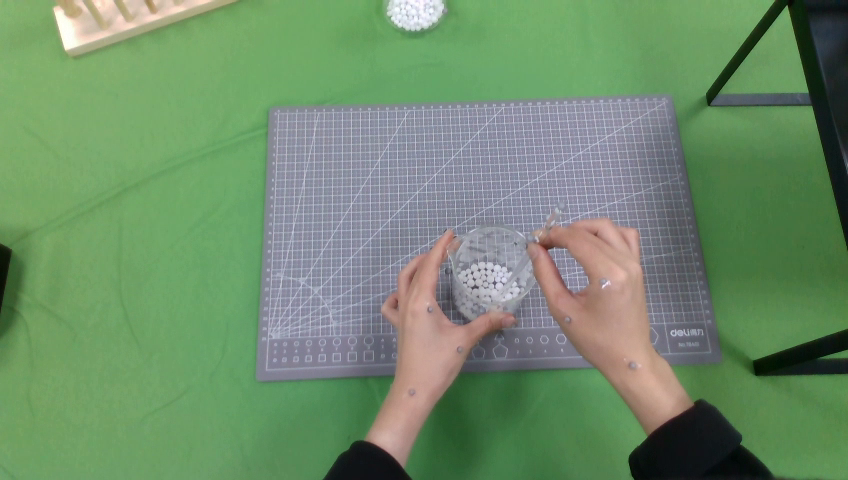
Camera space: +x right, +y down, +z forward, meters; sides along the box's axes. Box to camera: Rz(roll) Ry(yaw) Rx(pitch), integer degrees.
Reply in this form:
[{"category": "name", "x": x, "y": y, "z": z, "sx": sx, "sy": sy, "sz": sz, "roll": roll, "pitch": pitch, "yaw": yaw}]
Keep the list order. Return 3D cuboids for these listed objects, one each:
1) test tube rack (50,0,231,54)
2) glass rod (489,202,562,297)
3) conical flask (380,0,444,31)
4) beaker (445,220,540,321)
[{"category": "test tube rack", "x": -0.311, "y": -0.300, "z": 0.682, "sx": 0.242, "sy": 0.085, "sz": 0.066, "roll": -22, "pitch": 73, "yaw": -8}, {"category": "glass rod", "x": 0.079, "y": 0.014, "z": 0.508, "sx": 0.008, "sy": 0.200, "sz": 0.008, "roll": 3, "pitch": 67, "yaw": -7}, {"category": "conical flask", "x": -0.015, "y": -0.296, "z": 0.664, "sx": 0.075, "sy": 0.122, "sz": 0.075, "roll": 0, "pitch": 71, "yaw": 0}, {"category": "beaker", "x": 0.058, "y": 0.032, "z": 0.563, "sx": 0.084, "sy": 0.101, "sz": 0.073, "roll": 21, "pitch": 72, "yaw": 8}]
